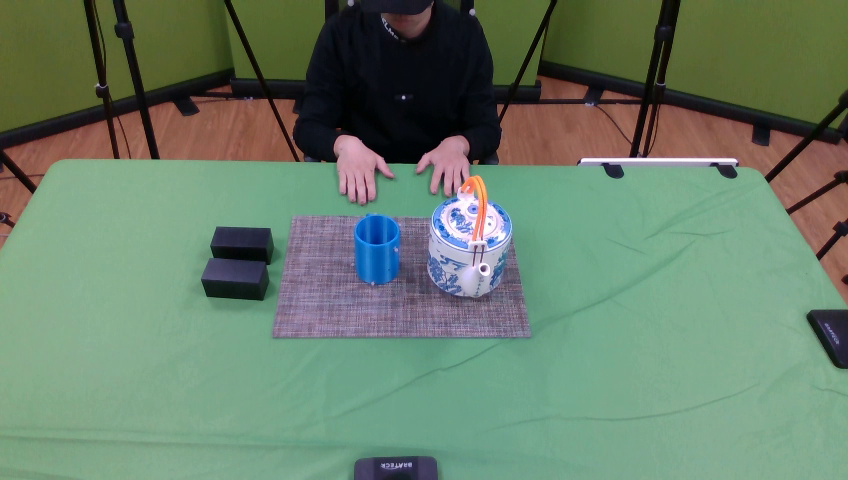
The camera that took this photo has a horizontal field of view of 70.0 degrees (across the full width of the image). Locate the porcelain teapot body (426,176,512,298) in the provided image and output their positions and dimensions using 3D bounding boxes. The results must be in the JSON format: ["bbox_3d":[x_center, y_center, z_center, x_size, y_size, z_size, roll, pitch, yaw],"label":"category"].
[{"bbox_3d":[0.085,0.009,1.051,0.145,0.226,0.204,-5,47,-9],"label":"porcelain teapot body"}]

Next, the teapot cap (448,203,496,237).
[{"bbox_3d":[0.083,-0.038,1.041,0.085,0.044,0.084,1,48,0],"label":"teapot cap"}]

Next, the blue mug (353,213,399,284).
[{"bbox_3d":[-0.093,0.006,1.123,0.082,0.106,0.115,-12,48,-15],"label":"blue mug"}]
